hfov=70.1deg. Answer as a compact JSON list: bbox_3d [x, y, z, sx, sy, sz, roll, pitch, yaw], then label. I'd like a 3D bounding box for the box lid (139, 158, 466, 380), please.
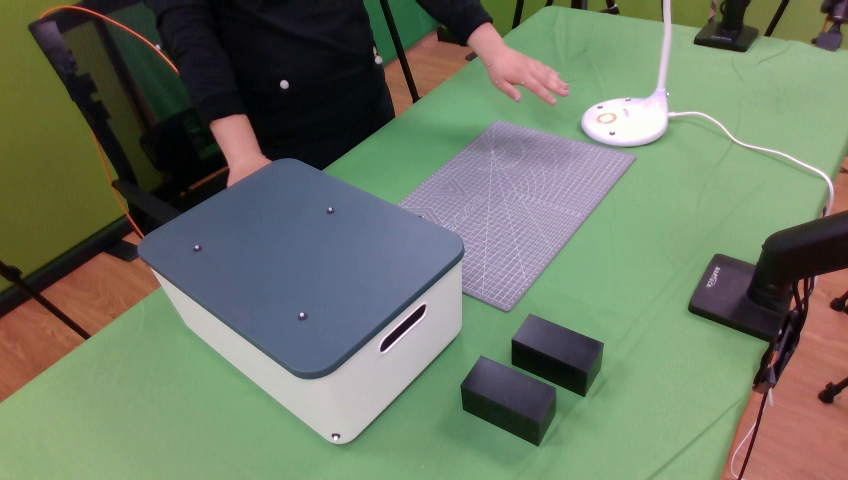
[{"bbox_3d":[-0.158,0.010,0.757,0.368,0.015,0.264,26,50,33],"label":"box lid"}]

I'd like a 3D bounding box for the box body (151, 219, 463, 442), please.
[{"bbox_3d":[-0.152,0.064,0.807,0.361,0.161,0.255,26,51,33],"label":"box body"}]

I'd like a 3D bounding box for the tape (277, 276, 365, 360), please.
[{"bbox_3d":[-0.140,0.106,0.832,0.117,0.053,0.116,-4,41,4],"label":"tape"}]

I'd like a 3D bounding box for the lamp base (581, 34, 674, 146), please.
[{"bbox_3d":[0.392,-0.291,1.129,0.180,0.181,0.159,-11,41,-8],"label":"lamp base"}]
